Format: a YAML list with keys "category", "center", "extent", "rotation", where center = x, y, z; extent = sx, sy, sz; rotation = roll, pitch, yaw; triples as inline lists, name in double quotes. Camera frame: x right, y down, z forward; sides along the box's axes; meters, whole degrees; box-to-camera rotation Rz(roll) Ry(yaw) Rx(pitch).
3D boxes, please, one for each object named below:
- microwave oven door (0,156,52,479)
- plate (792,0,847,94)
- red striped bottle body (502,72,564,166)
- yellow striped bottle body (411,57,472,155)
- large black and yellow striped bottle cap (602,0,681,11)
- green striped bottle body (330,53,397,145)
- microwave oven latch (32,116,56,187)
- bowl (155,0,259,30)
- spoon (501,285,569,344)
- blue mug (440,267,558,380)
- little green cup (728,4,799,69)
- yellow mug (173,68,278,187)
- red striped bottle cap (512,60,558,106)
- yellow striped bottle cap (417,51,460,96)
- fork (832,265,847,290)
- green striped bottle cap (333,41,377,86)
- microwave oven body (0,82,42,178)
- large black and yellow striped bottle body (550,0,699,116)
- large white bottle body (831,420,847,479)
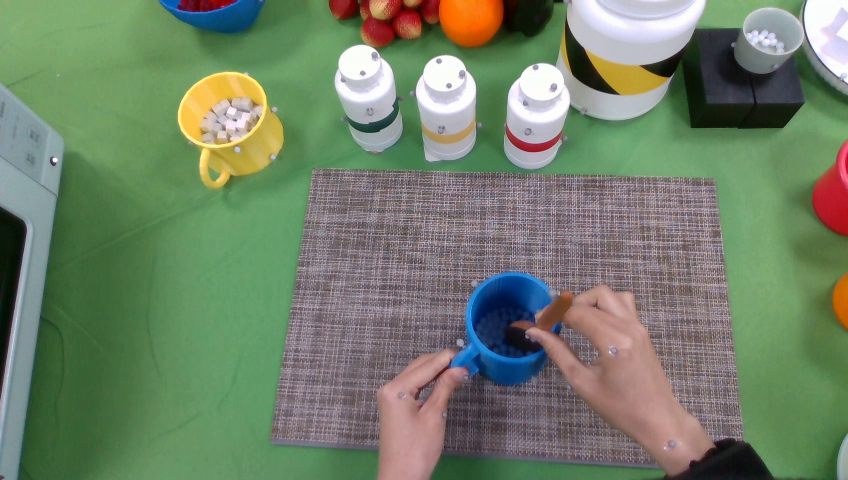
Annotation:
- category: "microwave oven door"
  center: [-0.429, 0.066, 0.516]
  extent: [0.039, 0.245, 0.353]
  rotation: [-7, 68, 2]
- category: "plate"
  center: [0.529, -0.239, 0.698]
  extent: [0.209, 0.038, 0.207]
  rotation: [-1, 69, 3]
- category: "red striped bottle body"
  center: [0.114, -0.134, 0.642]
  extent: [0.063, 0.120, 0.062]
  rotation: [-2, 67, 6]
- category: "yellow striped bottle body"
  center: [0.020, -0.148, 0.653]
  extent: [0.063, 0.121, 0.062]
  rotation: [-2, 68, 4]
- category: "large black and yellow striped bottle cap"
  center: [0.201, -0.263, 0.561]
  extent: [0.115, 0.019, 0.114]
  rotation: [-2, 68, 4]
- category: "green striped bottle body"
  center: [-0.066, -0.160, 0.664]
  extent: [0.063, 0.120, 0.062]
  rotation: [-1, 68, 3]
- category: "microwave oven latch"
  center: [-0.441, -0.099, 0.690]
  extent: [0.030, 0.030, 0.078]
  rotation: [-5, 69, 2]
- category: "bowl"
  center: [-0.262, -0.321, 0.762]
  extent: [0.151, 0.077, 0.150]
  rotation: [-1, 69, 3]
- category: "spoon"
  center: [0.094, 0.065, 0.502]
  extent: [0.041, 0.194, 0.021]
  rotation: [21, 76, 5]
- category: "blue mug"
  center: [0.063, 0.090, 0.562]
  extent: [0.116, 0.106, 0.081]
  rotation: [-35, 69, -9]
- category: "little green cup"
  center: [0.358, -0.215, 0.646]
  extent: [0.061, 0.039, 0.061]
  rotation: [0, 67, 1]
- category: "yellow mug"
  center: [-0.229, -0.122, 0.689]
  extent: [0.100, 0.064, 0.130]
  rotation: [11, 71, 8]
- category: "red striped bottle cap"
  center: [0.109, -0.155, 0.593]
  extent: [0.044, 0.018, 0.044]
  rotation: [0, 67, 0]
- category: "yellow striped bottle cap"
  center: [0.015, -0.166, 0.605]
  extent: [0.044, 0.019, 0.044]
  rotation: [1, 66, -1]
- category: "fork"
  center: [0.459, 0.066, 0.525]
  extent: [0.028, 0.019, 0.205]
  rotation: [-35, 26, -9]
- category: "green striped bottle cap"
  center: [-0.071, -0.180, 0.616]
  extent: [0.044, 0.020, 0.044]
  rotation: [-1, 69, 2]
- category: "microwave oven body"
  center: [-0.578, 0.046, 0.539]
  extent: [0.326, 0.262, 0.438]
  rotation: [-7, 69, 1]
- category: "large black and yellow striped bottle body"
  center: [0.208, -0.233, 0.639]
  extent: [0.131, 0.185, 0.130]
  rotation: [-1, 69, 4]
- category: "large white bottle body"
  center: [0.426, 0.181, 0.463]
  extent: [0.130, 0.186, 0.129]
  rotation: [-1, 68, 4]
